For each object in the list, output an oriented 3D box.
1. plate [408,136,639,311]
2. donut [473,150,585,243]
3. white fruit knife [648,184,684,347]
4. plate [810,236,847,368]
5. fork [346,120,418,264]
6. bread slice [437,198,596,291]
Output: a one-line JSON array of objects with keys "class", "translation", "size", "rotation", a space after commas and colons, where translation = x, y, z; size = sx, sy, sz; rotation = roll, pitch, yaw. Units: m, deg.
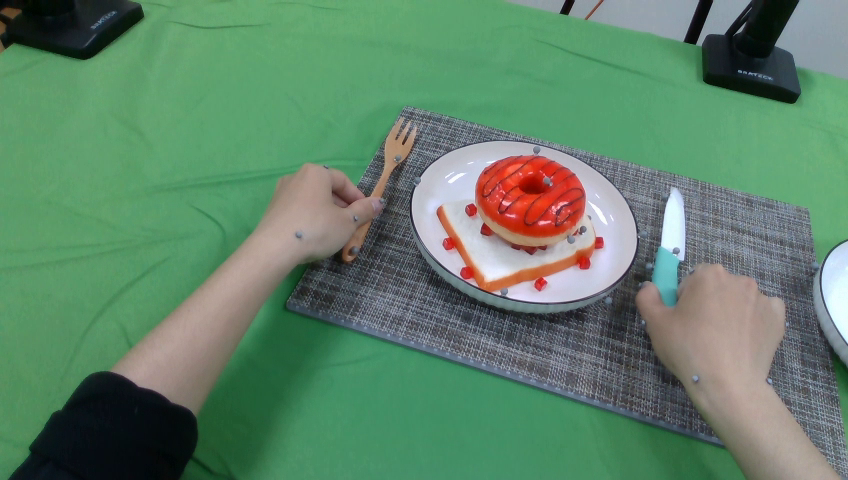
[{"class": "plate", "translation": [0.088, -0.017, 0.559], "size": [0.209, 0.038, 0.207], "rotation": [3, 49, -3]}, {"class": "donut", "translation": [0.092, -0.039, 0.532], "size": [0.099, 0.048, 0.098], "rotation": [3, 48, -4]}, {"class": "white fruit knife", "translation": [0.225, 0.013, 0.559], "size": [0.027, 0.016, 0.206], "rotation": [17, 47, 10]}, {"class": "plate", "translation": [0.434, 0.080, 0.519], "size": [0.208, 0.039, 0.205], "rotation": [3, 48, -4]}, {"class": "fork", "translation": [-0.039, -0.054, 0.588], "size": [0.028, 0.019, 0.206], "rotation": [6, 44, 13]}, {"class": "bread slice", "translation": [0.090, -0.012, 0.557], "size": [0.132, 0.019, 0.103], "rotation": [-16, 53, -19]}]
